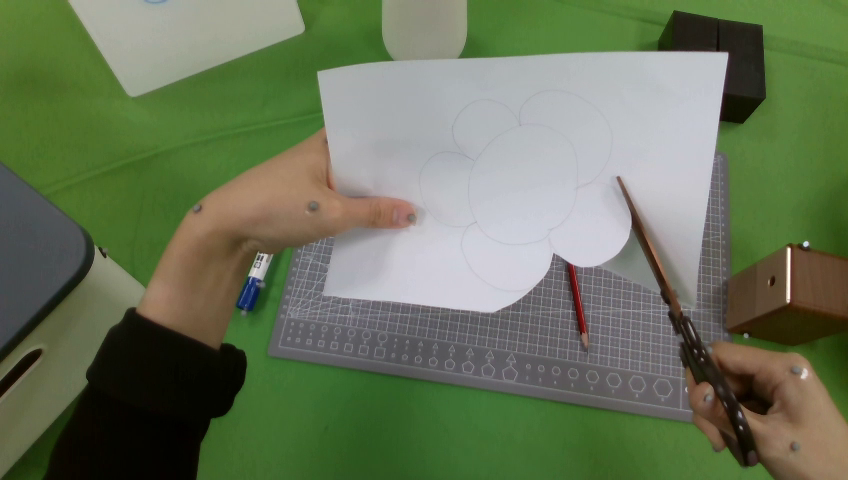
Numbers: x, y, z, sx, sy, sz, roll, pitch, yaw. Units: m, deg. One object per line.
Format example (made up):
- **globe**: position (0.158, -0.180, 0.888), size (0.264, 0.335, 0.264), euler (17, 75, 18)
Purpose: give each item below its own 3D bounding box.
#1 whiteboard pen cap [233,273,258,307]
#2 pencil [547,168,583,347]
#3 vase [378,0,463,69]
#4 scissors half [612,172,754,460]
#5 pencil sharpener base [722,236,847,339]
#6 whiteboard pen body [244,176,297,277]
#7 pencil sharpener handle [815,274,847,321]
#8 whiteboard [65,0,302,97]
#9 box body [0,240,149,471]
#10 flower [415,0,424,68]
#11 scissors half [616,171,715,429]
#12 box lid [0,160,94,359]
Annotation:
- **whiteboard pen cap**: position (-0.175, 0.049, 0.600), size (0.018, 0.018, 0.033), euler (14, 65, 5)
- **pencil**: position (0.147, 0.014, 0.626), size (0.012, 0.012, 0.192), euler (-5, 72, -3)
- **vase**: position (-0.004, -0.271, 0.630), size (0.098, 0.201, 0.097), euler (0, 68, 0)
- **scissors half**: position (0.143, 0.041, 0.339), size (0.013, 0.040, 0.174), euler (-24, 85, 6)
- **pencil sharpener base**: position (0.341, 0.048, 0.566), size (0.077, 0.107, 0.061), euler (13, 69, 0)
- **whiteboard pen body**: position (-0.161, -0.004, 0.622), size (0.017, 0.017, 0.140), euler (15, 68, 5)
- **pencil sharpener handle**: position (0.392, 0.057, 0.555), size (0.030, 0.068, 0.035), euler (13, 63, 0)
- **whiteboard**: position (-0.290, -0.347, 0.627), size (0.217, 0.308, 0.142), euler (-25, 52, -9)
- **box body**: position (-0.466, 0.027, 0.528), size (0.362, 0.161, 0.253), euler (34, 73, 11)
- **flower**: position (-0.009, -0.314, 0.557), size (0.044, 0.365, 0.038), euler (2, 51, 3)
- **scissors half**: position (0.146, 0.038, 0.360), size (0.013, 0.040, 0.176), euler (-23, 107, 11)
- **box lid**: position (-0.467, -0.001, 0.458), size (0.370, 0.015, 0.262), euler (34, 72, 11)
